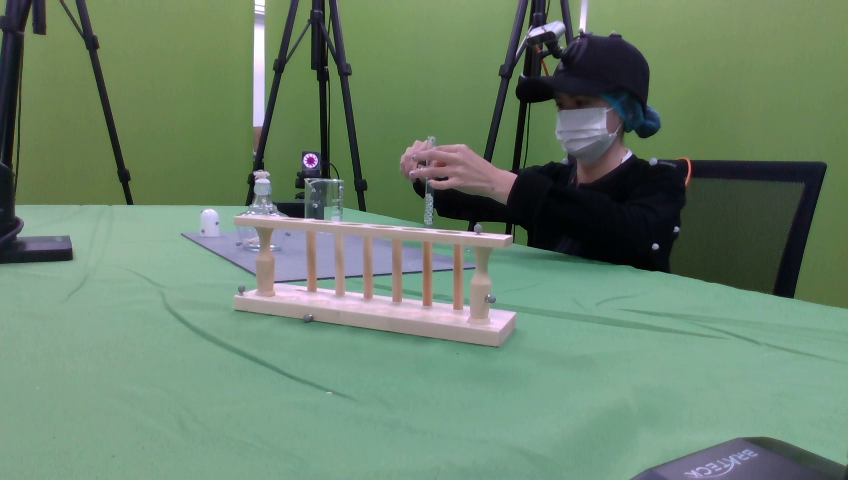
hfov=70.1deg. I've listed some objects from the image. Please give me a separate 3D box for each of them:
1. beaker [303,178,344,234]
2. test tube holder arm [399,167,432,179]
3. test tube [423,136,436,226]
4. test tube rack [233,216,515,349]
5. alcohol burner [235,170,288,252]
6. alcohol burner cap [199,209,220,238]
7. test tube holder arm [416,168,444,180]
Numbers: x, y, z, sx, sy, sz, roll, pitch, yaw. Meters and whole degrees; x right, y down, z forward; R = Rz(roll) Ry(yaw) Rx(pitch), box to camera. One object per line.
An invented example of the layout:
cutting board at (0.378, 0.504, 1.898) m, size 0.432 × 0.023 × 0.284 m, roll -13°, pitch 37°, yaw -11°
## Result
beaker at (-0.189, -0.063, 1.119) m, size 0.073 × 0.100 × 0.084 m, roll 6°, pitch 9°, yaw 28°
test tube holder arm at (-0.017, -0.121, 1.075) m, size 0.013 × 0.015 × 0.177 m, roll 2°, pitch 8°, yaw -20°
test tube at (0.009, -0.099, 1.013) m, size 0.017 × 0.150 × 0.017 m, roll 2°, pitch 2°, yaw 0°
test tube rack at (-0.045, 0.029, 0.526) m, size 0.241 × 0.085 × 0.067 m, roll 5°, pitch 7°, yaw 19°
alcohol burner at (-0.236, -0.042, 0.882) m, size 0.078 × 0.119 × 0.078 m, roll 2°, pitch 9°, yaw 0°
alcohol burner cap at (-0.356, -0.027, 1.002) m, size 0.034 × 0.048 × 0.034 m, roll 2°, pitch 7°, yaw 0°
test tube holder arm at (0.006, -0.114, 1.037) m, size 0.010 × 0.015 × 0.087 m, roll -1°, pitch 10°, yaw -35°
